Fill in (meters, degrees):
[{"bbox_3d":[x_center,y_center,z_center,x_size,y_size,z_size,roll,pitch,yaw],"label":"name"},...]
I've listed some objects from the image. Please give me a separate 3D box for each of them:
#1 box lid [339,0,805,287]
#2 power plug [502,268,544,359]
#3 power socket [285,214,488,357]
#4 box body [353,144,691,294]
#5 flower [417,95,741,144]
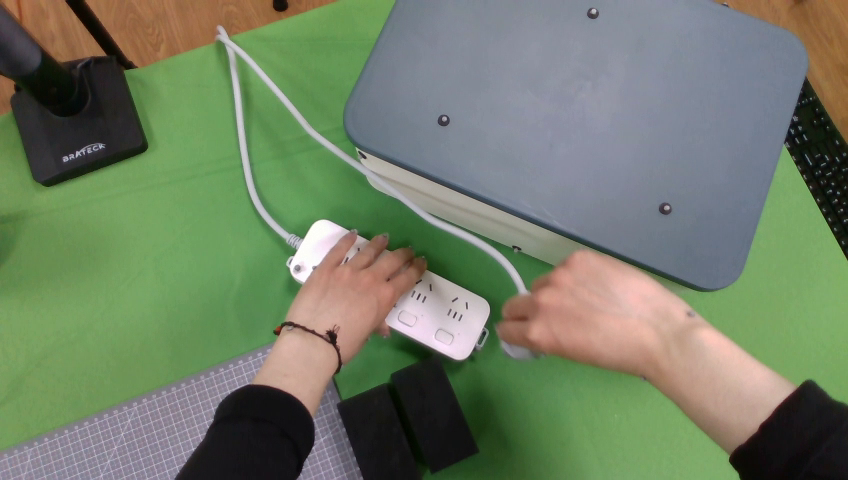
[{"bbox_3d":[0.138,-0.138,0.540,0.371,0.015,0.262,23,79,2],"label":"box lid"},{"bbox_3d":[0.092,0.068,0.528,0.035,0.053,0.072,20,71,4],"label":"power plug"},{"bbox_3d":[-0.037,0.047,0.634,0.226,0.033,0.072,27,78,3],"label":"power socket"},{"bbox_3d":[0.134,-0.122,0.612,0.364,0.161,0.253,22,78,2],"label":"box body"},{"bbox_3d":[0.162,-0.148,0.690,0.360,0.038,0.044,10,68,18],"label":"flower"}]
